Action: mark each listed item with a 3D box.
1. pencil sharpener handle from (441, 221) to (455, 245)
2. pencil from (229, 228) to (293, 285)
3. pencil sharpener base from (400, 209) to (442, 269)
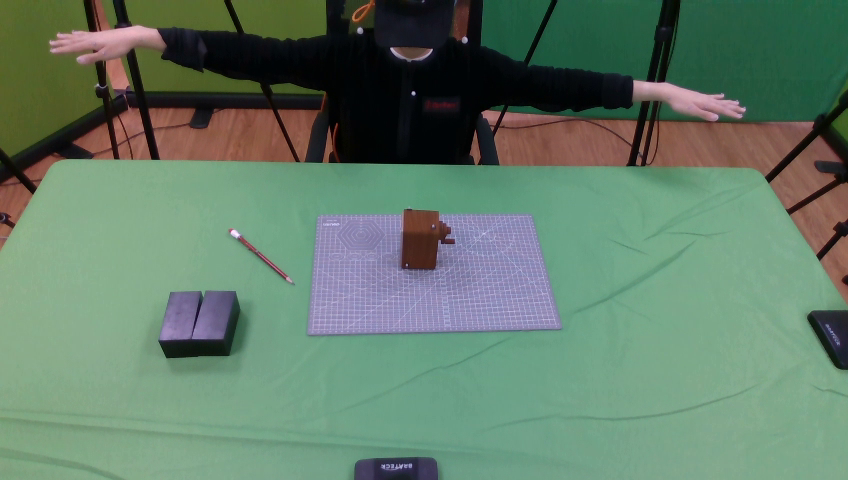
[{"bbox_3d":[0.046,-0.011,1.130,0.030,0.068,0.036,2,62,-2],"label":"pencil sharpener handle"},{"bbox_3d":[-0.311,0.031,1.155,0.193,0.012,0.012,36,54,25],"label":"pencil"},{"bbox_3d":[-0.006,0.000,1.134,0.077,0.107,0.061,2,46,-2],"label":"pencil sharpener base"}]
